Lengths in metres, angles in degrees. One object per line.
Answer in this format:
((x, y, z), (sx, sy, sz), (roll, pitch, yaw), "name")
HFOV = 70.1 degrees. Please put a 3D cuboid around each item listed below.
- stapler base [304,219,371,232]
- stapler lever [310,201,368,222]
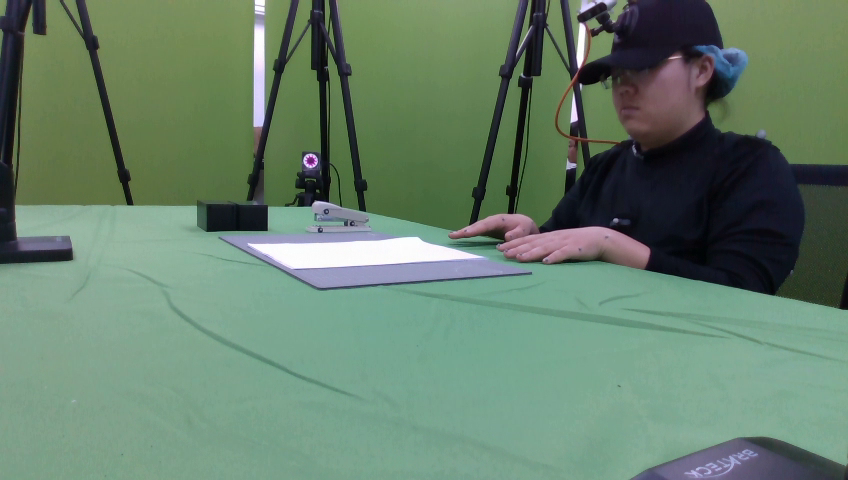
((-0.169, -0.030, 1.186), (0.131, 0.024, 0.041), (0, 9, -33), "stapler base")
((-0.166, -0.055, 1.184), (0.119, 0.040, 0.026), (0, 9, -33), "stapler lever")
